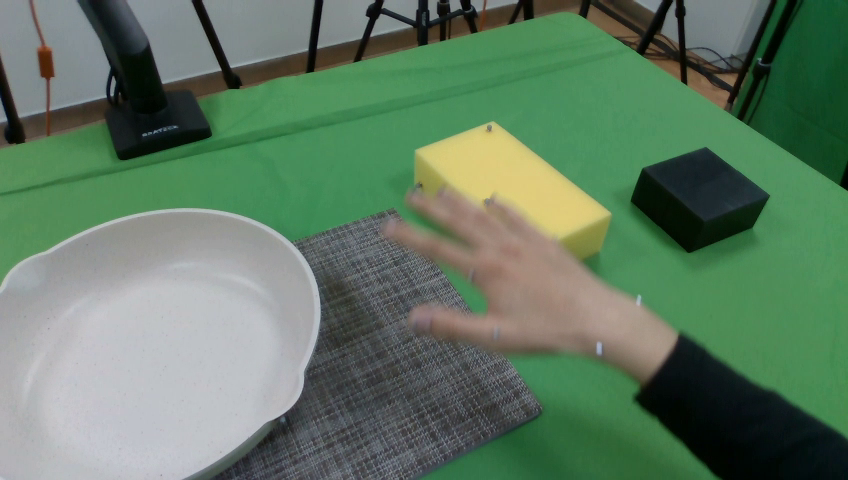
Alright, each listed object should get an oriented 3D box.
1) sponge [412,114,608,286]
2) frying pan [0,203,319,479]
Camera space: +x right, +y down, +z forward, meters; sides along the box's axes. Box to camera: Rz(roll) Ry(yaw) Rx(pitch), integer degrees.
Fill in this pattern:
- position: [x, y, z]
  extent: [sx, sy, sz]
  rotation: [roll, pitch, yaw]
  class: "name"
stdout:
- position: [0.090, -0.054, 0.693]
  extent: [0.118, 0.061, 0.204]
  rotation: [-25, 52, -24]
  class: "sponge"
- position: [-0.282, 0.144, 0.455]
  extent: [0.305, 0.103, 0.486]
  rotation: [20, 41, 19]
  class: "frying pan"
